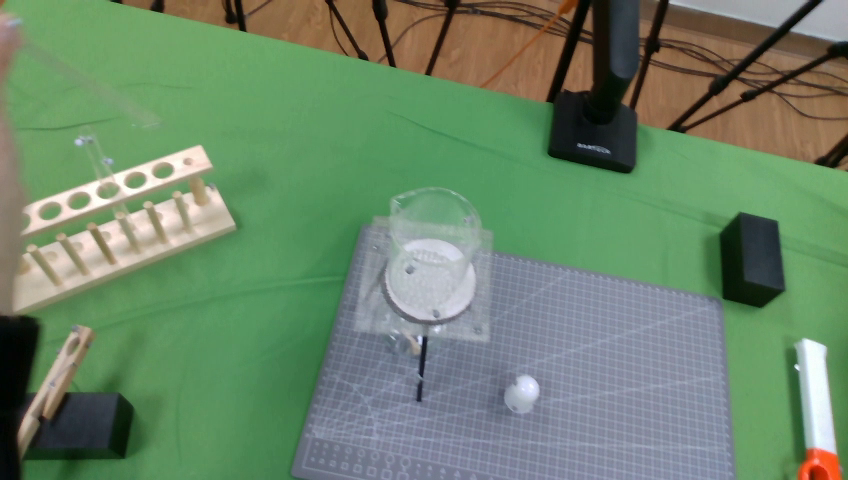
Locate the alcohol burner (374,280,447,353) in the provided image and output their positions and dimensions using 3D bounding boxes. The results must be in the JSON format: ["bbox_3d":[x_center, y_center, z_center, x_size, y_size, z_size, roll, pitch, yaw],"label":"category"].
[{"bbox_3d":[-0.012,0.072,0.629,0.078,0.120,0.077,4,59,-7],"label":"alcohol burner"}]

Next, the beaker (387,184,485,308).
[{"bbox_3d":[0.003,0.008,0.524,0.083,0.101,0.074,34,62,13],"label":"beaker"}]

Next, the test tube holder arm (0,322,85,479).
[{"bbox_3d":[-0.348,0.155,0.542,0.013,0.015,0.177,14,58,2],"label":"test tube holder arm"}]

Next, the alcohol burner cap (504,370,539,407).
[{"bbox_3d":[0.104,0.155,0.637,0.034,0.048,0.033,2,62,-3],"label":"alcohol burner cap"}]

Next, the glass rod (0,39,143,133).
[{"bbox_3d":[-0.248,-0.111,0.377,0.008,0.201,0.008,-4,73,16],"label":"glass rod"}]

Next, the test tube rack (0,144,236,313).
[{"bbox_3d":[-0.340,-0.015,0.660,0.242,0.086,0.066,-25,65,-20],"label":"test tube rack"}]

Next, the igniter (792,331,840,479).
[{"bbox_3d":[0.419,0.227,0.643,0.057,0.025,0.274,20,59,-7],"label":"igniter"}]

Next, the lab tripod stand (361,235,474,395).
[{"bbox_3d":[-0.001,0.069,0.620,0.148,0.132,0.147,4,60,-6],"label":"lab tripod stand"}]

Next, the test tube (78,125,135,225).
[{"bbox_3d":[-0.327,-0.061,0.631,0.017,0.151,0.017,4,55,-6],"label":"test tube"}]

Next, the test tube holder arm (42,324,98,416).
[{"bbox_3d":[-0.333,0.120,0.565,0.010,0.015,0.087,15,58,2],"label":"test tube holder arm"}]

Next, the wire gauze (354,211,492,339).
[{"bbox_3d":[0.003,0.032,0.567,0.121,0.011,0.124,7,63,-1],"label":"wire gauze"}]
